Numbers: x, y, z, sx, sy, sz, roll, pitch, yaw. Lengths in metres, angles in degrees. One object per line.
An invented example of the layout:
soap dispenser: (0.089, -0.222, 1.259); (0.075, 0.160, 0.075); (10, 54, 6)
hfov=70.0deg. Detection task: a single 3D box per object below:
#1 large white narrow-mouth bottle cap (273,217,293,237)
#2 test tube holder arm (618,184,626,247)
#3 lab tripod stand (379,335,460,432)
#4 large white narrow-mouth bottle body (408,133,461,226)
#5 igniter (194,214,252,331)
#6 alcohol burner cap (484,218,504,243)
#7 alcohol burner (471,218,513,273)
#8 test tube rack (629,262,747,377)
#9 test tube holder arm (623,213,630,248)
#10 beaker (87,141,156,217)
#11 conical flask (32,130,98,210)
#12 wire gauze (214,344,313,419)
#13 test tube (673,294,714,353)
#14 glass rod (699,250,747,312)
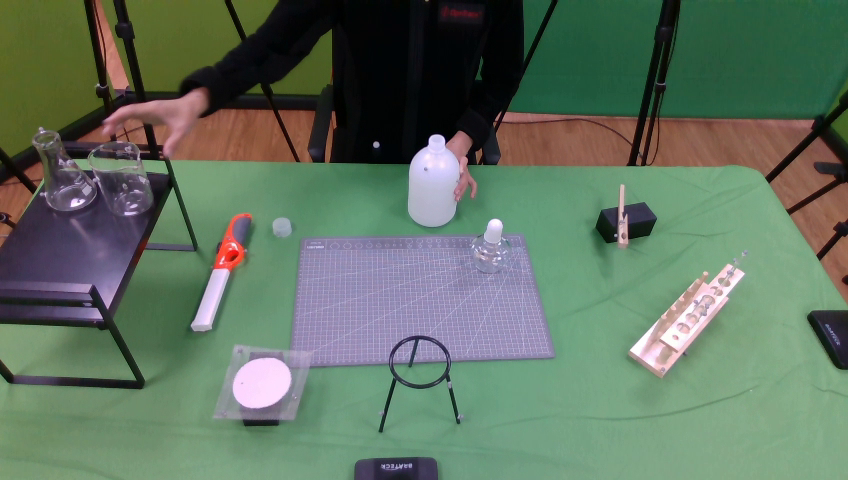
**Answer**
large white narrow-mouth bottle cap: (-0.281, -0.026, 1.203); (0.038, 0.024, 0.037); (2, 46, -2)
test tube holder arm: (0.396, -0.053, 1.210); (0.013, 0.015, 0.177); (14, 46, 1)
lab tripod stand: (-0.011, 0.214, 0.911); (0.148, 0.132, 0.147); (1, 45, 0)
large white narrow-mouth bottle body: (0.021, -0.125, 1.198); (0.102, 0.195, 0.101); (2, 47, -2)
igniter: (-0.367, 0.050, 1.119); (0.057, 0.025, 0.275); (-4, 45, 7)
alcohol burner cap: (0.130, -0.021, 1.106); (0.034, 0.048, 0.033); (3, 51, -4)
alcohol burner: (0.128, 0.005, 1.132); (0.078, 0.120, 0.077); (0, 47, 0)
test tube rack: (0.464, 0.126, 1.060); (0.242, 0.085, 0.066); (-34, 56, -31)
test tube holder arm: (0.393, -0.020, 1.179); (0.010, 0.015, 0.087); (14, 46, 0)
beaker: (-0.467, -0.092, 0.949); (0.084, 0.101, 0.073); (15, 47, 11)
conical flask: (-0.565, -0.111, 0.944); (0.075, 0.122, 0.075); (2, 46, -2)
wire gauze: (-0.241, 0.213, 0.916); (0.121, 0.011, 0.124); (5, 46, 1)
test tube: (0.428, 0.137, 0.978); (0.017, 0.151, 0.017); (4, 47, -4)
glass rod: (0.500, 0.075, 1.021); (0.008, 0.201, 0.008); (0, 55, 1)
